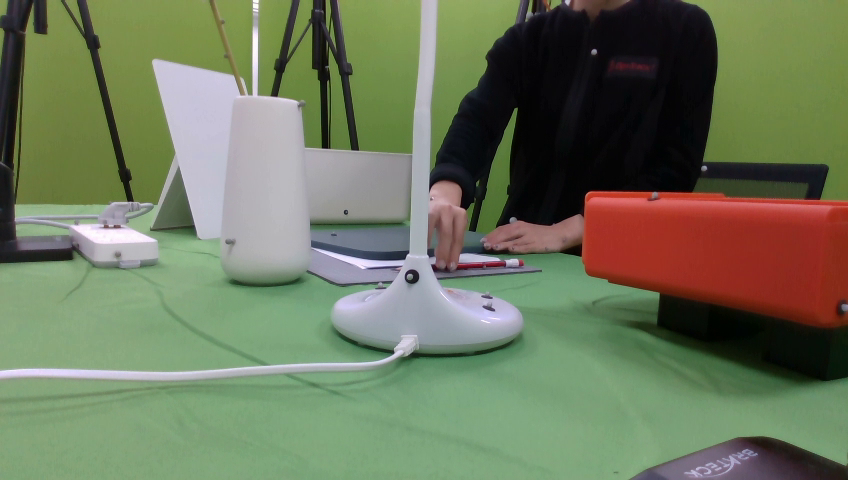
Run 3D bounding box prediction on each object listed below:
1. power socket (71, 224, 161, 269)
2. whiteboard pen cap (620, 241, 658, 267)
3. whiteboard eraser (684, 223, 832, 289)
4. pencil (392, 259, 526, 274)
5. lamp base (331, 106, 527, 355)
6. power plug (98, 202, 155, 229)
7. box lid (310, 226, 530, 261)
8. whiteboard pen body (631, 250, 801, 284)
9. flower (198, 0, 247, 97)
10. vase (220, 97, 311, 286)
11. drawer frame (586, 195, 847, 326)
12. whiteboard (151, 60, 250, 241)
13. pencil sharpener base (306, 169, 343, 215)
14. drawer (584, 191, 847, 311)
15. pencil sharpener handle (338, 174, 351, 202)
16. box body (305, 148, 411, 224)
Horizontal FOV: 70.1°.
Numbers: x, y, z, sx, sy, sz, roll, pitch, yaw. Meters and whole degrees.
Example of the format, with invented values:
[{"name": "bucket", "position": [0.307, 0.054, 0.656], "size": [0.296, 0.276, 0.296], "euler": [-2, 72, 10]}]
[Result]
[{"name": "power socket", "position": [-0.408, 0.004, 0.793], "size": [0.072, 0.032, 0.225], "euler": [-2, 8, -38]}, {"name": "whiteboard pen cap", "position": [0.199, 0.013, 0.557], "size": [0.018, 0.018, 0.033], "euler": [-4, 17, -39]}, {"name": "whiteboard eraser", "position": [0.305, 0.013, 0.558], "size": [0.056, 0.042, 0.112], "euler": [-9, 19, -30]}, {"name": "pencil", "position": [0.049, 0.036, 0.782], "size": [0.195, 0.012, 0.012], "euler": [-3, 9, -25]}, {"name": "lamp base", "position": [0.006, -0.012, 0.478], "size": [0.161, 0.180, 0.179], "euler": [2, 10, 2]}, {"name": "power plug", "position": [-0.416, -0.027, 0.848], "size": [0.073, 0.052, 0.035], "euler": [0, 8, -28]}, {"name": "box lid", "position": [-0.024, 0.002, 1.023], "size": [0.374, 0.015, 0.262], "euler": [-4, 9, -44]}, {"name": "whiteboard pen body", "position": [0.240, 0.020, 0.512], "size": [0.017, 0.017, 0.140], "euler": [-4, 8, -41]}, {"name": "flower", "position": [-0.187, -0.133, 0.648], "size": [0.038, 0.362, 0.044], "euler": [-1, 22, 43]}, {"name": "vase", "position": [-0.172, -0.052, 0.662], "size": [0.098, 0.200, 0.098], "euler": [3, 8, 0]}, {"name": "drawer frame", "position": [0.284, 0.004, 0.508], "size": [0.203, 0.082, 0.212], "euler": [-1, 6, -28]}, {"name": "whiteboard", "position": [-0.408, -0.140, 1.094], "size": [0.143, 0.305, 0.218], "euler": [-15, 0, 25]}, {"name": "pencil sharpener base", "position": [-0.234, -0.113, 1.433], "size": [0.077, 0.107, 0.061], "euler": [-1, 6, -30]}, {"name": "drawer", "position": [0.280, 0.001, 0.513], "size": [0.195, 0.073, 0.211], "euler": [0, 8, -28]}, {"name": "pencil sharpener handle", "position": [-0.189, -0.126, 1.459], "size": [0.031, 0.067, 0.036], "euler": [-1, 9, -30]}, {"name": "box body", "position": [-0.233, -0.127, 1.373], "size": [0.366, 0.160, 0.253], "euler": [-2, 8, -29]}]
